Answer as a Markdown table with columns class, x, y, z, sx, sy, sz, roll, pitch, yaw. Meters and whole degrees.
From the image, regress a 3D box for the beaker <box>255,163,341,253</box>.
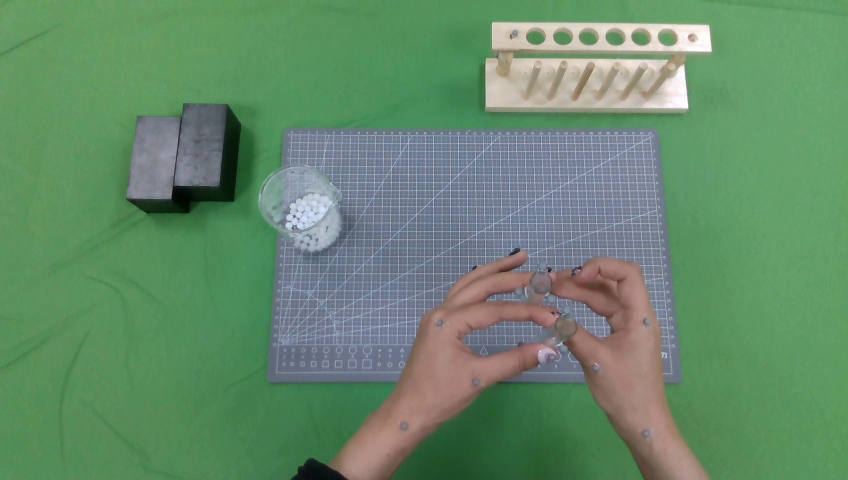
| class | x | y | z | sx | sy | sz | roll | pitch | yaw |
| --- | --- | --- | --- | --- | --- | --- | --- | --- | --- |
| beaker | -0.128 | -0.030 | 0.654 | 0.084 | 0.100 | 0.073 | -7 | 76 | -2 |

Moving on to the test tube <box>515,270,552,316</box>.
| class | x | y | z | sx | sy | sz | roll | pitch | yaw |
| --- | --- | --- | --- | --- | --- | --- | --- | --- | --- |
| test tube | 0.082 | 0.044 | 0.465 | 0.017 | 0.151 | 0.017 | -1 | 77 | 5 |

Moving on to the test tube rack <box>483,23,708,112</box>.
| class | x | y | z | sx | sy | sz | roll | pitch | yaw |
| --- | --- | --- | --- | --- | --- | --- | --- | --- | --- |
| test tube rack | 0.193 | -0.199 | 0.708 | 0.242 | 0.085 | 0.066 | 1 | 75 | 0 |

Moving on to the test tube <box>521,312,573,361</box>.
| class | x | y | z | sx | sy | sz | roll | pitch | yaw |
| --- | --- | --- | --- | --- | --- | --- | --- | --- | --- |
| test tube | 0.092 | 0.078 | 0.468 | 0.017 | 0.151 | 0.017 | 0 | 72 | 1 |
